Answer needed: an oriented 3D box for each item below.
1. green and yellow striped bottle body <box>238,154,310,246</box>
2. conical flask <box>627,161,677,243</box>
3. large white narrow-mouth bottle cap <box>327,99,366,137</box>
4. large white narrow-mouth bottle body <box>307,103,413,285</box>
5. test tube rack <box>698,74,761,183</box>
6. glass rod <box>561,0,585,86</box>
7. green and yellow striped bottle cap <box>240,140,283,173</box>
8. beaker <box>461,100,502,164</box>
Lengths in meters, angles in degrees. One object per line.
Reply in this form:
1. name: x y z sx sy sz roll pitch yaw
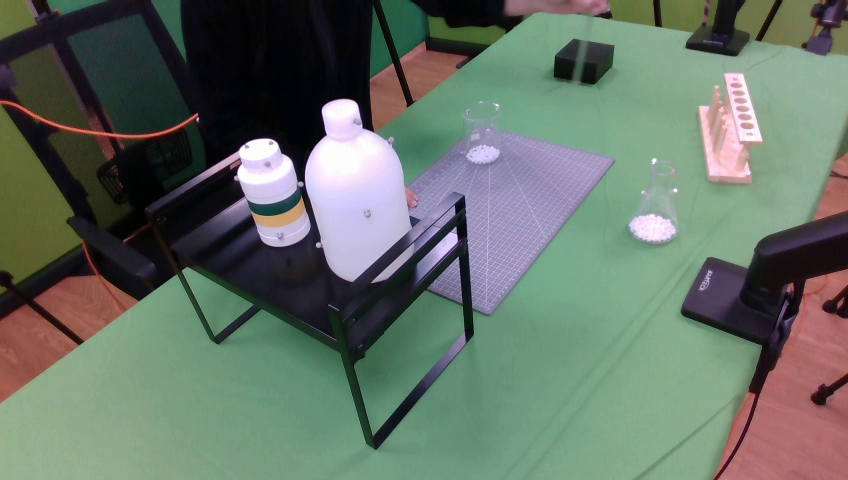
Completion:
1. green and yellow striped bottle body: -0.178 -0.056 0.714 0.063 0.120 0.063 -4 40 4
2. conical flask: 0.355 -0.061 0.921 0.075 0.122 0.075 -4 41 4
3. large white narrow-mouth bottle cap: -0.075 -0.118 0.582 0.038 0.024 0.037 -3 40 3
4. large white narrow-mouth bottle body: -0.070 -0.051 0.638 0.102 0.195 0.101 -3 40 3
5. test tube rack: 0.547 -0.208 1.095 0.066 0.085 0.242 5 42 15
6. glass rod: 0.244 -0.344 0.964 0.008 0.200 0.008 5 33 -3
7. green and yellow striped bottle cap: -0.183 -0.094 0.679 0.045 0.020 0.045 -4 38 4
8. beaker: 0.111 -0.200 1.132 0.084 0.101 0.073 -27 45 -22
